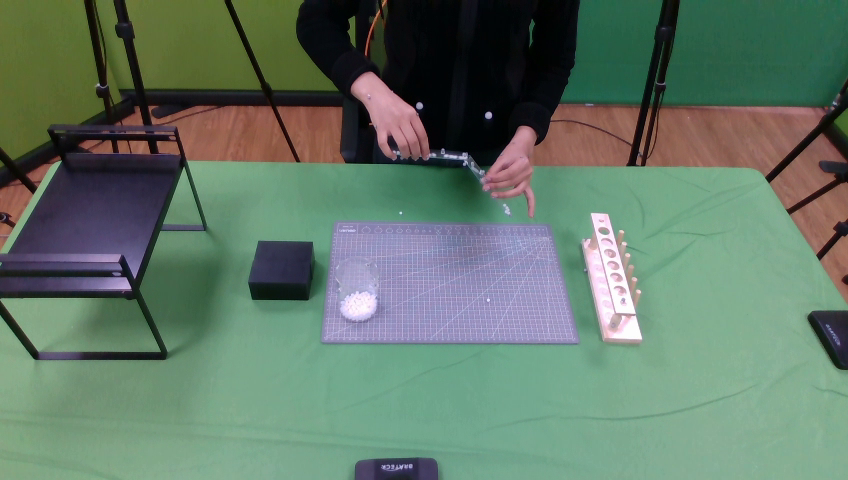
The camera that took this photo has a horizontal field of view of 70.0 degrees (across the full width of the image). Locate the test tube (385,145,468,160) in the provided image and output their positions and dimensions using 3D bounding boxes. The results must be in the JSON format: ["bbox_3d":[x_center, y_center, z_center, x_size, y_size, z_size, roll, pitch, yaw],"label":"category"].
[{"bbox_3d":[0.005,-0.158,1.087,0.150,0.017,0.017,4,46,-4],"label":"test tube"}]

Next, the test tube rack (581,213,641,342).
[{"bbox_3d":[0.351,0.064,1.121,0.067,0.085,0.241,3,46,-1],"label":"test tube rack"}]

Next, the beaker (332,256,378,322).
[{"bbox_3d":[-0.114,0.089,1.047,0.083,0.101,0.074,30,52,21],"label":"beaker"}]

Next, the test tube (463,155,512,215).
[{"bbox_3d":[0.121,-0.101,1.129,0.017,0.151,0.017,-31,30,20],"label":"test tube"}]
